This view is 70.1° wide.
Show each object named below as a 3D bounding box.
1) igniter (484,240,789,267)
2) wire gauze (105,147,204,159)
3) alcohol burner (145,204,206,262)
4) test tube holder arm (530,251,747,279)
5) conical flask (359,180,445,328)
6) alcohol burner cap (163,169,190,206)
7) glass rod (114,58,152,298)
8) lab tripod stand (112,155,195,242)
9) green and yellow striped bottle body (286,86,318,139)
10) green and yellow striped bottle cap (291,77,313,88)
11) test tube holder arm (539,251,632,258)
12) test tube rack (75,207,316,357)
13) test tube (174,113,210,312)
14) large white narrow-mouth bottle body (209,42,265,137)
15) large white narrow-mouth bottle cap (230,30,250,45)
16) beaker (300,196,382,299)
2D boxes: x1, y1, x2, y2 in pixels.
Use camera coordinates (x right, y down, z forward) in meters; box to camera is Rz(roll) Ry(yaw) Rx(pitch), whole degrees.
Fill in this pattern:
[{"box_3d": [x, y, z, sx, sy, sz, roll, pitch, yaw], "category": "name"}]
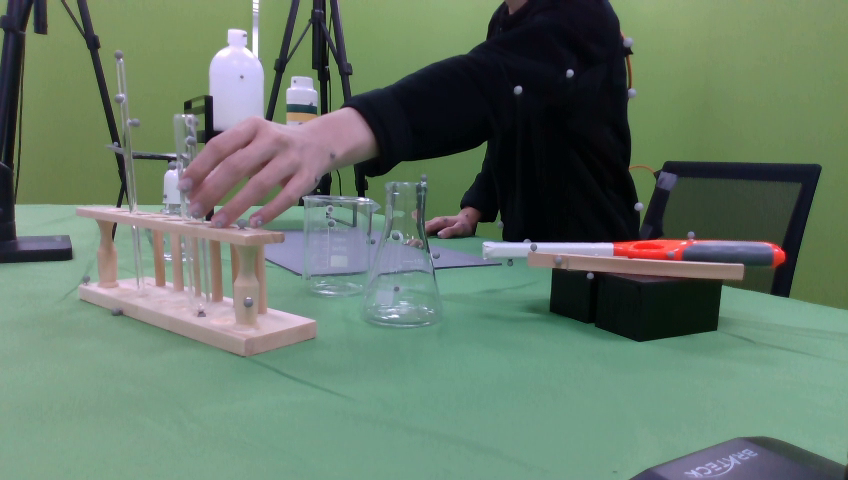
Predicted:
[{"box_3d": [0.197, 0.012, 0.585, 0.276, 0.025, 0.057, 1, 5, 12], "category": "igniter"}, {"box_3d": [-0.408, -0.131, 0.929, 0.125, 0.011, 0.121, 2, 6, -11], "category": "wire gauze"}, {"box_3d": [-0.321, -0.032, 0.788, 0.078, 0.119, 0.078, 0, 7, 0], "category": "alcohol burner"}, {"box_3d": [0.182, 0.022, 0.522, 0.178, 0.015, 0.013, 3, 9, 13], "category": "test tube holder arm"}, {"box_3d": [-0.017, 0.010, 0.522, 0.075, 0.122, 0.075, 2, 7, 0], "category": "conical flask"}, {"box_3d": [-0.320, -0.067, 0.782, 0.034, 0.048, 0.034, 1, 7, 0], "category": "alcohol burner cap"}, {"box_3d": [-0.236, -0.044, 0.492, 0.008, 0.199, 0.008, 0, 16, 0], "category": "glass rod"}, {"box_3d": [-0.405, -0.064, 0.931, 0.148, 0.131, 0.148, 1, 6, 0], "category": "lab tripod stand"}, {"box_3d": [-0.251, -0.270, 1.245, 0.063, 0.119, 0.063, 2, 7, 0], "category": "green and yellow striped bottle body"}, {"box_3d": [-0.249, -0.321, 1.237, 0.045, 0.020, 0.045, 3, 5, 0], "category": "green and yellow striped bottle cap"}, {"box_3d": [0.139, 0.019, 0.538, 0.087, 0.015, 0.010, 4, 9, 14], "category": "test tube holder arm"}, {"box_3d": [-0.196, 0.023, 0.499, 0.241, 0.085, 0.067, 7, 9, 36], "category": "test tube rack"}, {"box_3d": [-0.175, -0.019, 0.457, 0.017, 0.150, 0.017, -2, 6, 1], "category": "test tube"}, {"box_3d": [-0.361, -0.303, 1.175, 0.102, 0.194, 0.102, 4, 6, 0], "category": "large white narrow-mouth bottle body"}, {"box_3d": [-0.355, -0.389, 1.167, 0.038, 0.024, 0.037, 4, 5, 0], "category": "large white narrow-mouth bottle cap"}, {"box_3d": [-0.087, 0.006, 0.626, 0.084, 0.100, 0.074, 1, 8, -16], "category": "beaker"}]
